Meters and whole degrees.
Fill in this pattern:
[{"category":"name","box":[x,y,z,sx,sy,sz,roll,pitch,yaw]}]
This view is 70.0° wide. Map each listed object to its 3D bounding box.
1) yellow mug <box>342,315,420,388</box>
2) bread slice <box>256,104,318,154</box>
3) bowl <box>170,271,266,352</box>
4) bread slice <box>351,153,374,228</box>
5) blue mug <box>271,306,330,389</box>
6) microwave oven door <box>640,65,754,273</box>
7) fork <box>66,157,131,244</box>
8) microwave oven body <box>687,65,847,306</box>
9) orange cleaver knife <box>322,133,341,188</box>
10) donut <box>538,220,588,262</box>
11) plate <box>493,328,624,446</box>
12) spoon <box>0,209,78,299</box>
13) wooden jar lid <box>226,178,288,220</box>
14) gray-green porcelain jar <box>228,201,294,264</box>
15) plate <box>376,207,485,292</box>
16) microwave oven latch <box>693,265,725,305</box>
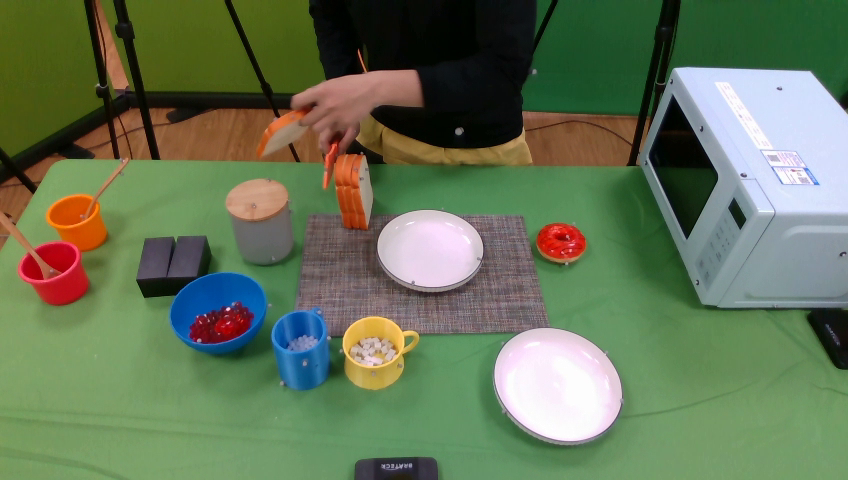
[{"category":"yellow mug","box":[-0.068,0.177,0.990,0.131,0.064,0.099,-15,50,-19]},{"category":"bread slice","box":[-0.239,-0.200,1.069,0.105,0.131,0.019,-34,95,-27]},{"category":"bowl","box":[-0.333,0.132,1.006,0.151,0.077,0.150,2,46,-2]},{"category":"bread slice","box":[-0.122,-0.103,1.206,0.018,0.135,0.106,-2,47,6]},{"category":"blue mug","box":[-0.188,0.163,0.969,0.082,0.106,0.116,15,47,10]},{"category":"microwave oven door","box":[0.522,-0.147,1.193,0.039,0.245,0.353,0,47,-3]},{"category":"fork","box":[-0.608,-0.074,1.132,0.207,0.019,0.028,-52,48,10]},{"category":"microwave oven body","box":[0.669,-0.111,1.176,0.326,0.261,0.439,0,46,-3]},{"category":"orange cleaver knife","box":[-0.189,-0.166,1.239,0.012,0.077,0.210,6,25,-3]},{"category":"donut","box":[0.273,0.000,1.198,0.099,0.048,0.098,0,46,0]},{"category":"plate","box":[0.213,0.236,0.974,0.208,0.039,0.206,2,46,-2]},{"category":"spoon","box":[-0.668,0.021,1.040,0.041,0.021,0.194,-41,105,-30]},{"category":"wooden jar lid","box":[-0.296,-0.070,1.081,0.108,0.021,0.107,1,45,-1]},{"category":"gray-green porcelain jar","box":[-0.299,-0.027,1.126,0.106,0.127,0.105,2,46,-2]},{"category":"plate","box":[0.012,0.021,1.158,0.209,0.038,0.208,2,47,-2]},{"category":"microwave oven latch","box":[0.522,0.081,1.115,0.030,0.029,0.078,2,46,-1]}]
